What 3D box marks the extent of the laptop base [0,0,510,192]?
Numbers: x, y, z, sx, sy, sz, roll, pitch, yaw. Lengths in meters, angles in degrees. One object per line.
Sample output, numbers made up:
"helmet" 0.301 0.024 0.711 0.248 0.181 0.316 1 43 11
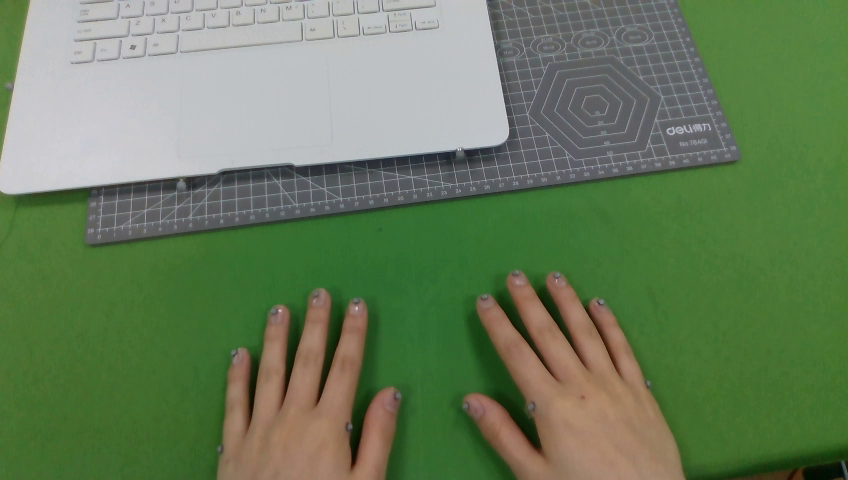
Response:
"laptop base" -0.126 -0.154 0.461 0.354 0.023 0.233 -6 70 -2
